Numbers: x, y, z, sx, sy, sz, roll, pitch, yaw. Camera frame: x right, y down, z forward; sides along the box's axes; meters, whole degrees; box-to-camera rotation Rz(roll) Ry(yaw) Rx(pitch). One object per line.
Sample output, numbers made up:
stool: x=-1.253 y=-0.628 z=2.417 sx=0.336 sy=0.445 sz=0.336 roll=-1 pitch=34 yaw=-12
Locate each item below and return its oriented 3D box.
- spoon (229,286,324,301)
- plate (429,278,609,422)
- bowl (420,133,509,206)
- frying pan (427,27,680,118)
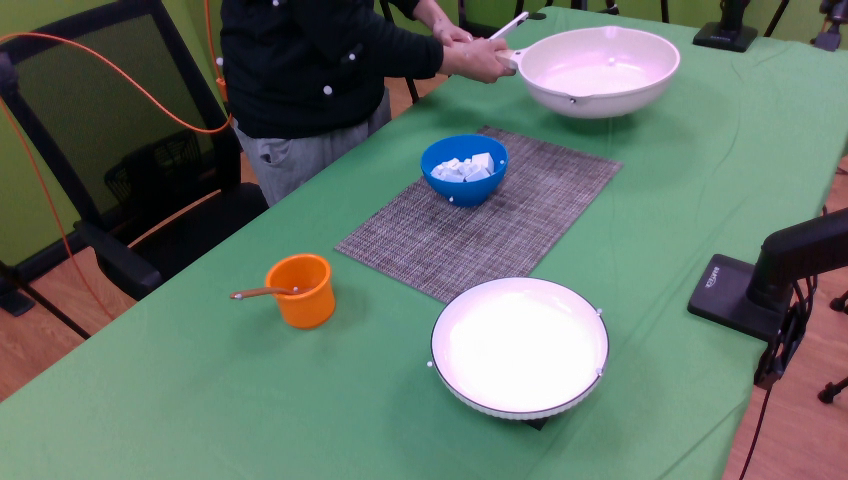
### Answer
spoon: x=-0.197 y=0.071 z=0.816 sx=0.041 sy=0.195 sz=0.021 roll=14 pitch=89 yaw=23
plate: x=0.111 y=0.129 z=0.716 sx=0.207 sy=0.039 sz=0.206 roll=-5 pitch=39 yaw=4
bowl: x=0.071 y=-0.112 z=1.038 sx=0.151 sy=0.077 sz=0.150 roll=-4 pitch=40 yaw=4
frying pan: x=0.234 y=-0.347 z=1.183 sx=0.486 sy=0.103 sz=0.307 roll=17 pitch=45 yaw=17
